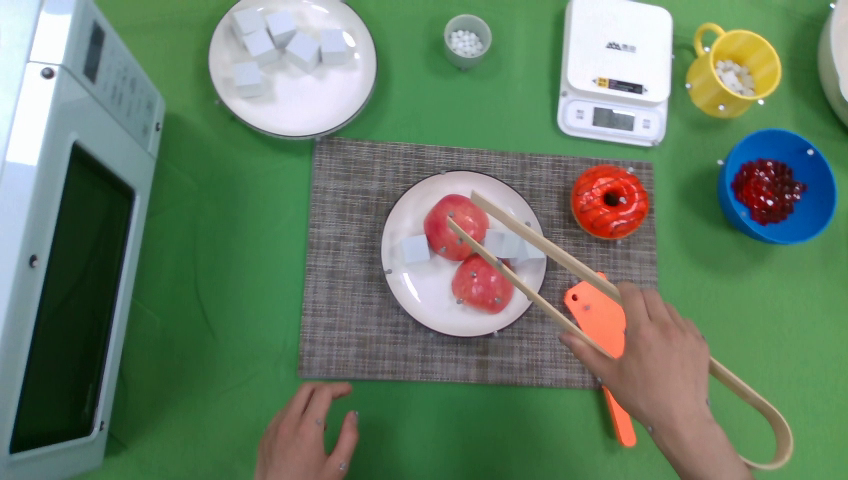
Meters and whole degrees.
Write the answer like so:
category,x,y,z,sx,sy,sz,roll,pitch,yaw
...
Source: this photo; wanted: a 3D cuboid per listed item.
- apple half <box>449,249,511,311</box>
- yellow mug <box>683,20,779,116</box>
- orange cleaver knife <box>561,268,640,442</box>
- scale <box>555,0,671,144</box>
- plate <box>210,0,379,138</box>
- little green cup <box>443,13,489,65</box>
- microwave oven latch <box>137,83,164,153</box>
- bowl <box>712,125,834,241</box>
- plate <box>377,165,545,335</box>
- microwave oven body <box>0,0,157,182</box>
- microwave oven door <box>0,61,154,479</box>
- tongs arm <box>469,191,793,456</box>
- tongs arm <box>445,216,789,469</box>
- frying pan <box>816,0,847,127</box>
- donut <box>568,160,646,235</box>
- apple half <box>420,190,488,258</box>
category,x,y,z,sx,sy,sz,roll,pitch,yaw
apple half,0.071,0.045,0.737,0.081,0.033,0.081,0,81,-2
yellow mug,0.409,-0.241,0.827,0.100,0.064,0.130,-29,83,-10
orange cleaver knife,0.231,0.140,0.754,0.077,0.012,0.210,-14,80,-14
scale,0.259,-0.236,0.826,0.149,0.031,0.200,8,79,-4
plate,-0.162,-0.225,0.773,0.208,0.039,0.206,1,79,-6
little green cup,0.054,-0.264,0.805,0.061,0.039,0.061,1,78,-6
microwave oven latch,-0.330,-0.146,0.719,0.030,0.029,0.079,8,79,-5
bowl,0.437,-0.065,0.791,0.151,0.077,0.151,1,80,-6
plate,0.045,0.013,0.747,0.209,0.038,0.208,1,79,-6
microwave oven body,-0.483,-0.009,0.577,0.326,0.260,0.440,6,79,-6
microwave oven door,-0.341,0.047,0.577,0.039,0.244,0.354,6,78,-5
tongs arm,0.192,0.071,0.604,0.385,0.028,0.028,39,68,14
tongs arm,0.175,0.089,0.596,0.382,0.027,0.050,43,72,15
frying pan,0.730,-0.159,0.829,0.307,0.103,0.484,-23,75,-9
donut,0.234,-0.054,0.779,0.099,0.048,0.098,1,79,-4
apple half,0.038,-0.024,0.738,0.081,0.053,0.074,-42,83,-13
